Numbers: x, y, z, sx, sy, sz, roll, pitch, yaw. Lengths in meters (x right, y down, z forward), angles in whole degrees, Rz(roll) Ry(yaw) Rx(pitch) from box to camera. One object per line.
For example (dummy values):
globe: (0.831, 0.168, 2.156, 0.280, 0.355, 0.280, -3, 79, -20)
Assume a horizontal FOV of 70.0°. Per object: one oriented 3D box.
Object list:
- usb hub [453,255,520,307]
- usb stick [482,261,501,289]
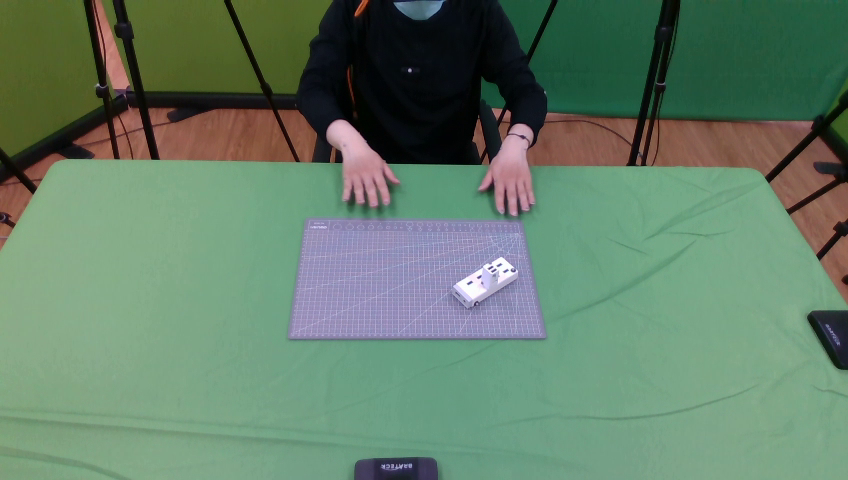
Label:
usb hub: (0.117, 0.076, 1.122, 0.125, 0.025, 0.049, -28, 55, -26)
usb stick: (0.120, 0.068, 1.090, 0.021, 0.059, 0.027, -30, 57, -28)
